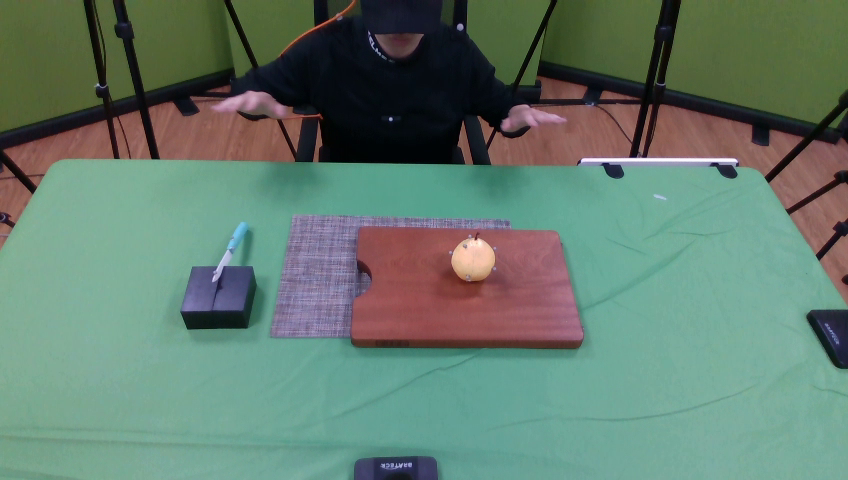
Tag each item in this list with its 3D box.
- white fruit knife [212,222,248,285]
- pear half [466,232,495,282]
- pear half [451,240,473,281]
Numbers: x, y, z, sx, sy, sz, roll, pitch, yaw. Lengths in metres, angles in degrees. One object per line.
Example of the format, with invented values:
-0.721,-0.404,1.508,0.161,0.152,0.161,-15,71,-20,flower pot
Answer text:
-0.355,0.020,1.111,0.016,0.027,0.206,-1,30,1,white fruit knife
0.100,0.024,1.085,0.056,0.110,0.076,-11,51,-15,pear half
0.065,0.035,1.085,0.031,0.088,0.070,-11,51,-14,pear half
